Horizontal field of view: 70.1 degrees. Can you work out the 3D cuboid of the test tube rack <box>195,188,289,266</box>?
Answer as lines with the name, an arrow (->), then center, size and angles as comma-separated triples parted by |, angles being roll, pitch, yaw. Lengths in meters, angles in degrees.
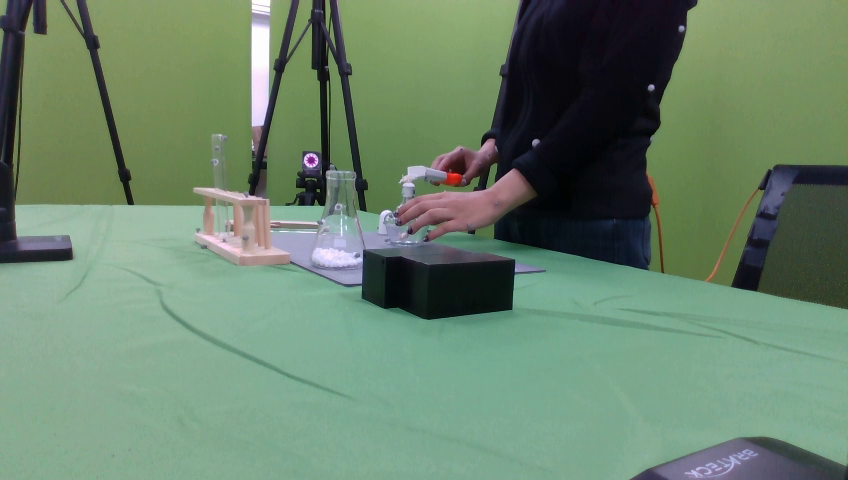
test tube rack -> -0.266, -0.025, 0.864 | 0.067, 0.085, 0.241 | -2, 8, -33

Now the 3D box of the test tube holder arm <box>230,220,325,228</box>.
test tube holder arm -> -0.275, -0.029, 1.144 | 0.179, 0.015, 0.013 | -1, 42, -30

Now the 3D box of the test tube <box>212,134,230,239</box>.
test tube -> -0.290, -0.076, 0.863 | 0.017, 0.150, 0.017 | -2, 6, 0

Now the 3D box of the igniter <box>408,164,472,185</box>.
igniter -> 0.035, -0.121, 1.126 | 0.057, 0.025, 0.277 | 0, 2, 20

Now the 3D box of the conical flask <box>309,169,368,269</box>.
conical flask -> -0.107, -0.028, 0.762 | 0.075, 0.122, 0.075 | 2, 7, 0

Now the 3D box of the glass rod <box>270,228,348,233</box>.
glass rod -> -0.234, -0.017, 1.105 | 0.201, 0.008, 0.008 | 1, 7, -26

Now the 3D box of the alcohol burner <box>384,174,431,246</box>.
alcohol burner -> -0.026, -0.049, 0.993 | 0.078, 0.119, 0.078 | 2, 9, 0

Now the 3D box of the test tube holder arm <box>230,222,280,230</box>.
test tube holder arm -> -0.312, -0.025, 1.117 | 0.088, 0.015, 0.010 | -1, 42, -30

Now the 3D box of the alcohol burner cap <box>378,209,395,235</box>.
alcohol burner cap -> -0.070, -0.035, 1.144 | 0.034, 0.048, 0.034 | 2, 8, 0
